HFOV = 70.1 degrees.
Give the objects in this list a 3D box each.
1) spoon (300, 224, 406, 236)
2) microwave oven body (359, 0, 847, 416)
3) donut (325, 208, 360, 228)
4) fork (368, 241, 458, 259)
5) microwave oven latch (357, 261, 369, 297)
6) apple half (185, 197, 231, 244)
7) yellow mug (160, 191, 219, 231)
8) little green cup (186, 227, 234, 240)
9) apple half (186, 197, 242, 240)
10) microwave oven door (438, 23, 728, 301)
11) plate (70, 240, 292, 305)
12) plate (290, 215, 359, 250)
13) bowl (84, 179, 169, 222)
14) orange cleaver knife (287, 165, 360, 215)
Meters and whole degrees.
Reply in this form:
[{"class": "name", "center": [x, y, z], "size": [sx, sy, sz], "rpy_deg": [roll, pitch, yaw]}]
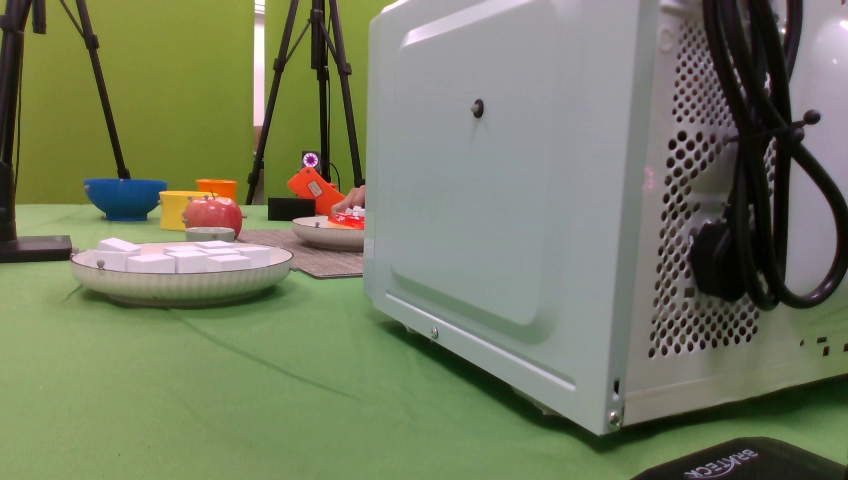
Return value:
[{"class": "spoon", "center": [-0.127, -0.018, 1.103], "size": [0.194, 0.021, 0.041], "rpy_deg": [0, 13, -17]}, {"class": "microwave oven body", "center": [0.211, -0.047, 0.474], "size": [0.444, 0.260, 0.324], "rpy_deg": [-1, 7, -28]}, {"class": "donut", "center": [-0.110, -0.025, 0.974], "size": [0.099, 0.048, 0.099], "rpy_deg": [5, 8, 0]}, {"class": "fork", "center": [-0.009, 0.011, 0.884], "size": [0.208, 0.028, 0.018], "rpy_deg": [-2, 45, -51]}, {"class": "microwave oven latch", "center": [-0.019, 0.033, 0.530], "size": [0.079, 0.029, 0.030], "rpy_deg": [-1, 7, -26]}, {"class": "apple half", "center": [-0.337, -0.031, 0.927], "size": [0.032, 0.081, 0.082], "rpy_deg": [13, 13, 37]}, {"class": "yellow mug", "center": [-0.416, -0.053, 1.103], "size": [0.130, 0.064, 0.100], "rpy_deg": [7, 8, 27]}, {"class": "little green cup", "center": [-0.285, 0.005, 0.805], "size": [0.061, 0.038, 0.061], "rpy_deg": [3, 8, 0]}, {"class": "apple half", "center": [-0.307, -0.026, 0.905], "size": [0.053, 0.074, 0.081], "rpy_deg": [14, 9, 37]}, {"class": "microwave oven door", "center": [0.181, -0.072, 0.621], "size": [0.358, 0.243, 0.039], "rpy_deg": [-2, 8, -29]}, {"class": "plate", "center": [-0.242, 0.031, 0.618], "size": [0.208, 0.039, 0.207], "rpy_deg": [2, 8, 0]}, {"class": "plate", "center": [-0.110, -0.013, 0.974], "size": [0.209, 0.038, 0.209], "rpy_deg": [3, 8, 0]}, {"class": "bowl", "center": [-0.584, -0.078, 1.194], "size": [0.151, 0.077, 0.151], "rpy_deg": [3, 8, 0]}, {"class": "orange cleaver knife", "center": [-0.211, -0.093, 1.382], "size": [0.212, 0.077, 0.012], "rpy_deg": [33, 1, -15]}]
